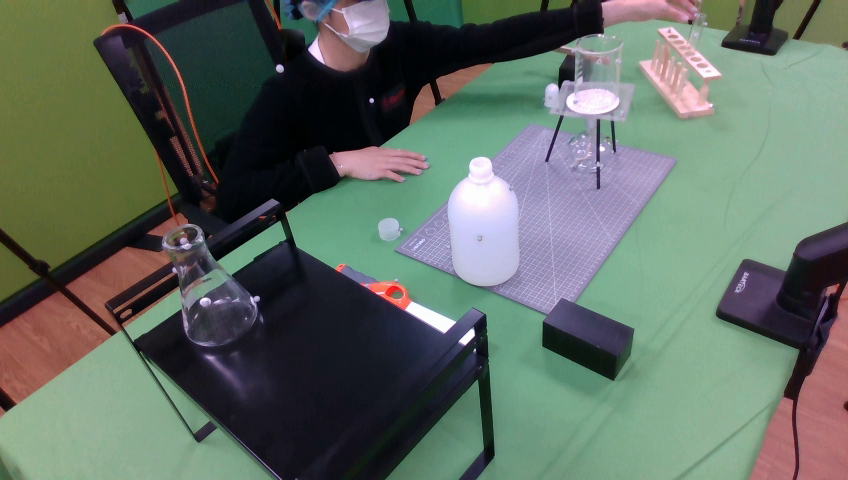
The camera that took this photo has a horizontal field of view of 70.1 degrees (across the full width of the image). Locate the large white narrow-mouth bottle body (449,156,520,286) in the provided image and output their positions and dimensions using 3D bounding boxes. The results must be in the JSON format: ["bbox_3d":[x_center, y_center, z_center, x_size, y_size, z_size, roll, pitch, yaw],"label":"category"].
[{"bbox_3d":[0.086,-0.032,0.868,0.102,0.195,0.101,-4,40,4],"label":"large white narrow-mouth bottle body"}]

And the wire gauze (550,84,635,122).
[{"bbox_3d":[0.285,-0.234,1.021,0.124,0.011,0.121,8,41,24],"label":"wire gauze"}]

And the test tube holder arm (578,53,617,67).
[{"bbox_3d":[0.376,-0.393,1.314,0.087,0.015,0.010,25,49,32],"label":"test tube holder arm"}]

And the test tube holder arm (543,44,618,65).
[{"bbox_3d":[0.344,-0.412,1.340,0.177,0.015,0.013,24,48,31],"label":"test tube holder arm"}]

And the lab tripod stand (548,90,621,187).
[{"bbox_3d":[0.289,-0.184,1.062,0.148,0.132,0.147,-6,41,6],"label":"lab tripod stand"}]

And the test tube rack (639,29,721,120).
[{"bbox_3d":[0.527,-0.351,1.262,0.067,0.085,0.241,-7,40,1],"label":"test tube rack"}]

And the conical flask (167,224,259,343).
[{"bbox_3d":[-0.219,0.041,0.613,0.075,0.122,0.075,-5,40,4],"label":"conical flask"}]

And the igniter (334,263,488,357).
[{"bbox_3d":[-0.030,0.095,0.872,0.274,0.025,0.057,23,60,31],"label":"igniter"}]

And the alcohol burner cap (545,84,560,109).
[{"bbox_3d":[0.274,-0.307,1.286,0.034,0.048,0.033,-5,41,5],"label":"alcohol burner cap"}]

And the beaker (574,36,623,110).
[{"bbox_3d":[0.285,-0.273,0.990,0.073,0.101,0.084,15,46,27],"label":"beaker"}]

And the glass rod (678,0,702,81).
[{"bbox_3d":[0.544,-0.417,1.233,0.008,0.200,0.008,1,40,0],"label":"glass rod"}]

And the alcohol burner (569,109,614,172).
[{"bbox_3d":[0.298,-0.181,1.073,0.078,0.119,0.077,-5,43,5],"label":"alcohol burner"}]

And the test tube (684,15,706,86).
[{"bbox_3d":[0.540,-0.378,1.215,0.017,0.151,0.017,-2,44,3],"label":"test tube"}]

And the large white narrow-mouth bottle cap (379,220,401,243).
[{"bbox_3d":[-0.057,-0.015,1.011,0.038,0.024,0.037,-4,40,4],"label":"large white narrow-mouth bottle cap"}]
